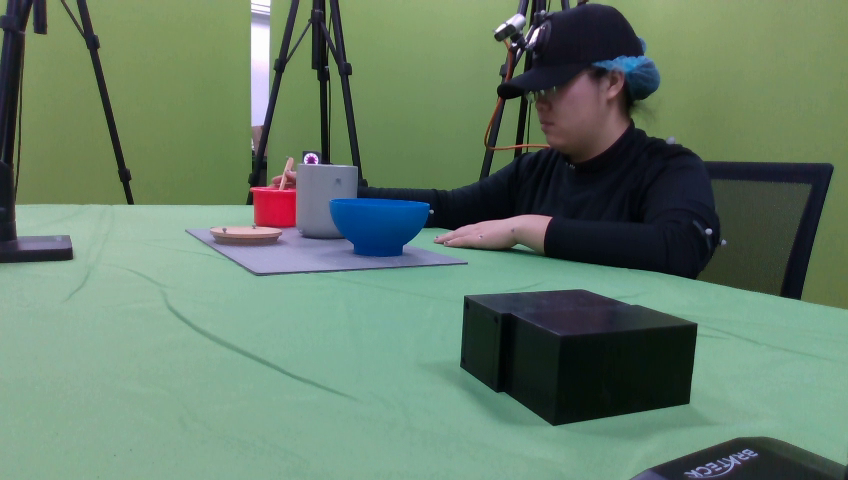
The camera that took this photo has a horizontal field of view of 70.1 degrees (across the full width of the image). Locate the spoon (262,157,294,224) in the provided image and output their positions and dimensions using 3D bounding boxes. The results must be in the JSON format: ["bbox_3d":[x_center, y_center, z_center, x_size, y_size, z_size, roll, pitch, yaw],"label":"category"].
[{"bbox_3d":[-0.288,-0.103,1.225,0.042,0.193,0.021,9,-37,-2],"label":"spoon"}]

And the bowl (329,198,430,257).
[{"bbox_3d":[-0.067,-0.019,0.894,0.151,0.077,0.151,3,7,0],"label":"bowl"}]

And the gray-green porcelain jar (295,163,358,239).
[{"bbox_3d":[-0.170,-0.069,1.054,0.106,0.126,0.106,3,7,0],"label":"gray-green porcelain jar"}]

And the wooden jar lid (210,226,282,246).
[{"bbox_3d":[-0.279,-0.007,0.951,0.108,0.020,0.108,2,8,0],"label":"wooden jar lid"}]
